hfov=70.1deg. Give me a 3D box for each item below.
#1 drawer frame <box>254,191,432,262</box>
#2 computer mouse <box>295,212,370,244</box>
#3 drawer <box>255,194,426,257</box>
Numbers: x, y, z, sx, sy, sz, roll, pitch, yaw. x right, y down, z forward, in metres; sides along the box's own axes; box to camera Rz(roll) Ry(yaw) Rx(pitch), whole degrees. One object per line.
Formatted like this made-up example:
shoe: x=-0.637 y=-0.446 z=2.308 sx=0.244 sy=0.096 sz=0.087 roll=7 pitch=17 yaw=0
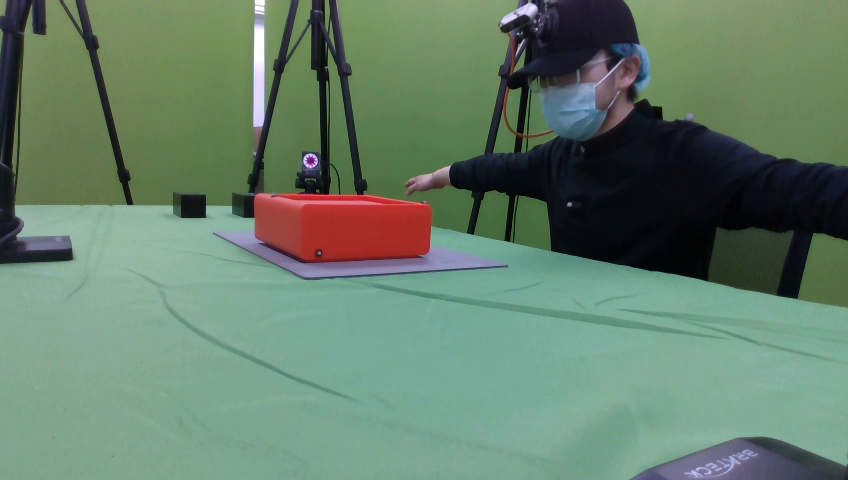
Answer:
drawer frame: x=-0.128 y=-0.027 z=0.911 sx=0.203 sy=0.082 sz=0.212 roll=-1 pitch=9 yaw=-32
computer mouse: x=-0.143 y=-0.019 z=0.948 sx=0.117 sy=0.041 sz=0.062 roll=-5 pitch=16 yaw=-2
drawer: x=-0.130 y=-0.026 z=0.912 sx=0.195 sy=0.073 sz=0.210 roll=-1 pitch=9 yaw=-31
